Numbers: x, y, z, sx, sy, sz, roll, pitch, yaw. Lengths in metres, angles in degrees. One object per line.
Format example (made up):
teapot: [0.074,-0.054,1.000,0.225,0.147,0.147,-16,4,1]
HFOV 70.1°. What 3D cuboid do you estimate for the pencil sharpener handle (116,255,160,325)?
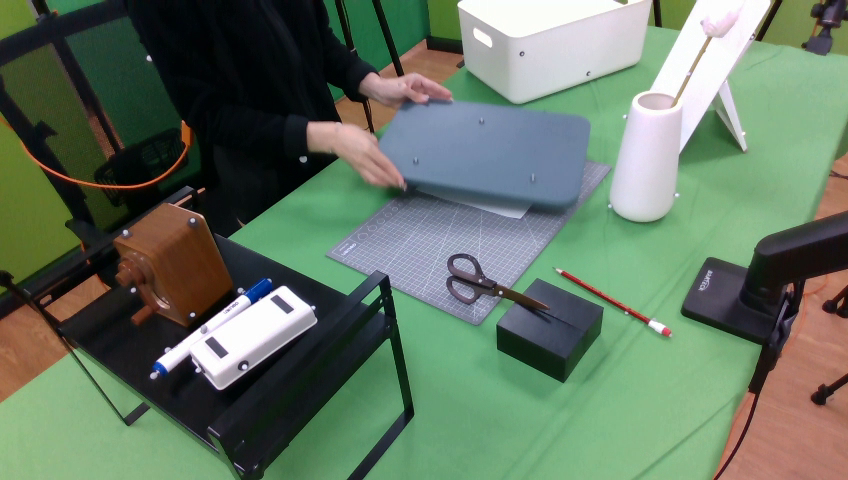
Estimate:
pencil sharpener handle: [-0.286,0.050,0.594,0.035,0.068,0.031,7,41,35]

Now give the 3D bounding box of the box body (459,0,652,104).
box body: [0.291,-0.465,1.371,0.365,0.161,0.252,-22,42,-16]

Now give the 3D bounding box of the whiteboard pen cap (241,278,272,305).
whiteboard pen cap: [-0.184,0.057,0.658,0.018,0.018,0.033,19,44,28]

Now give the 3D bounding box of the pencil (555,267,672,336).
pencil: [0.260,0.082,0.850,0.012,0.012,0.192,-33,46,-27]

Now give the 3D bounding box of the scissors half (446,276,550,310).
scissors half: [0.098,0.077,0.827,0.174,0.040,0.013,6,14,44]

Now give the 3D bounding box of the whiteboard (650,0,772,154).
whiteboard: [0.543,-0.298,1.076,0.144,0.305,0.216,12,40,-7]

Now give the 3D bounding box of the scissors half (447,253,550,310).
scissors half: [0.098,0.058,0.821,0.173,0.040,0.013,27,33,37]

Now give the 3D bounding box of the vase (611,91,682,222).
vase: [0.348,-0.125,0.935,0.098,0.201,0.097,-3,40,3]

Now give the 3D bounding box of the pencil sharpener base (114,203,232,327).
pencil sharpener base: [-0.262,0.029,0.635,0.061,0.107,0.077,18,47,26]

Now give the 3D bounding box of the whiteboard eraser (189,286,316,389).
whiteboard eraser: [-0.166,0.096,0.593,0.113,0.042,0.055,-36,47,-29]

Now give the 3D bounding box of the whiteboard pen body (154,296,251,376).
whiteboard pen body: [-0.215,0.088,0.619,0.017,0.017,0.141,19,42,28]

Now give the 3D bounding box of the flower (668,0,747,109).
flower: [0.354,-0.187,0.879,0.038,0.362,0.044,31,48,15]

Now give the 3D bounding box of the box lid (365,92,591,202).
box lid: [0.104,-0.174,1.075,0.370,0.015,0.263,10,46,12]
